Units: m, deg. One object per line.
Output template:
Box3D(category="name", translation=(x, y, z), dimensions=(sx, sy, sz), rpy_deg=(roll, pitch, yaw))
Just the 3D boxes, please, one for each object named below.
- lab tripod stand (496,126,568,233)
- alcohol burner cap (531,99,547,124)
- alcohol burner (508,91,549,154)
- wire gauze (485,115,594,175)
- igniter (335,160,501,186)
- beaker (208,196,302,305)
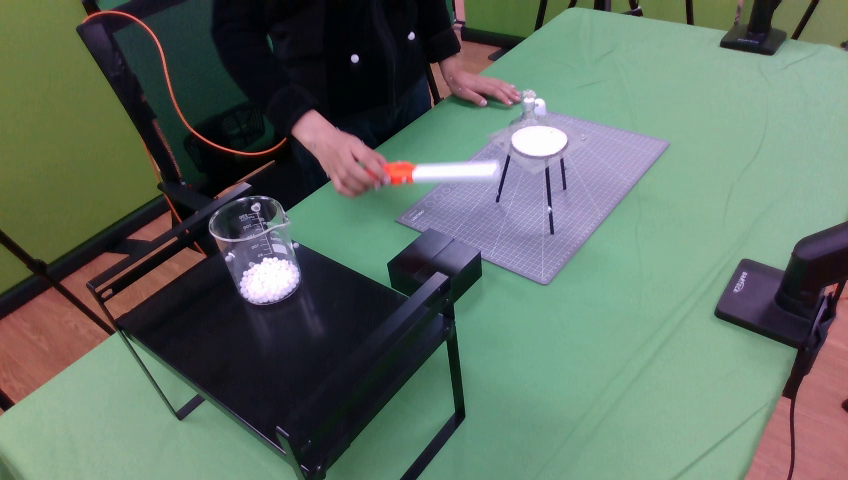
Box3D(category="lab tripod stand", translation=(0.188, -0.104, 0.979), dimensions=(0.148, 0.132, 0.147), rpy_deg=(-3, 41, 3))
Box3D(category="alcohol burner cap", translation=(0.234, -0.264, 1.231), dimensions=(0.034, 0.048, 0.033), rpy_deg=(-5, 41, 5))
Box3D(category="alcohol burner", translation=(0.196, -0.223, 1.134), dimensions=(0.078, 0.119, 0.077), rpy_deg=(-6, 39, 5))
Box3D(category="wire gauze", translation=(0.177, -0.154, 0.935), dimensions=(0.122, 0.011, 0.124), rpy_deg=(-26, 45, -21))
Box3D(category="igniter", translation=(-0.019, -0.099, 0.889), dimensions=(0.275, 0.025, 0.057), rpy_deg=(1, 35, 29))
Box3D(category="beaker", translation=(-0.173, 0.014, 0.647), dimensions=(0.084, 0.101, 0.073), rpy_deg=(-1, 41, 8))
